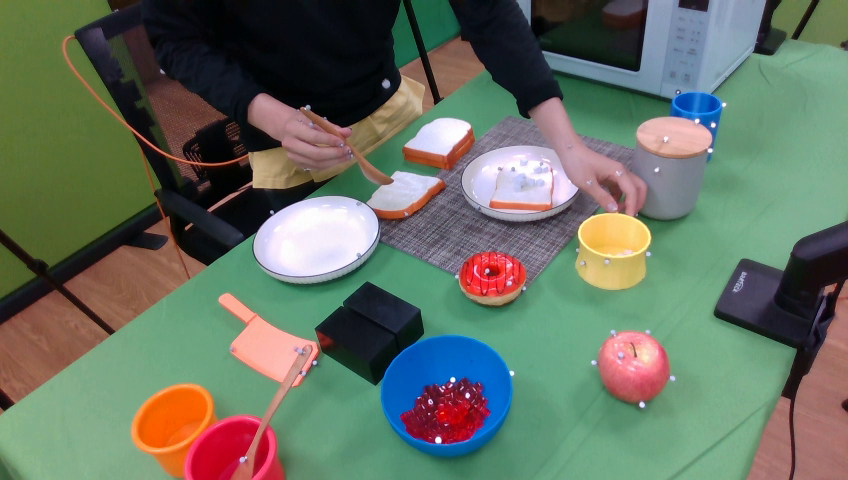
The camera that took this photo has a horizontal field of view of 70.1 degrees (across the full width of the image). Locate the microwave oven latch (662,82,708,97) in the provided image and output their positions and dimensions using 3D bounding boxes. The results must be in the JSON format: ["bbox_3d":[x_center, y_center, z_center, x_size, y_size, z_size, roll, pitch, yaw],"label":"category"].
[{"bbox_3d":[0.517,-0.298,1.203,0.078,0.029,0.030,28,53,35],"label":"microwave oven latch"}]

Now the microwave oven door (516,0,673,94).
[{"bbox_3d":[0.344,-0.459,1.257,0.353,0.245,0.039,26,52,33],"label":"microwave oven door"}]

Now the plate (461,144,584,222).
[{"bbox_3d":[0.168,-0.095,1.040,0.207,0.039,0.206,-4,40,4],"label":"plate"}]

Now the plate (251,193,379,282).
[{"bbox_3d":[-0.174,-0.001,0.984,0.209,0.038,0.208,-4,40,3],"label":"plate"}]

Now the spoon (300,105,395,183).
[{"bbox_3d":[-0.107,-0.133,0.862,0.041,0.195,0.021,3,62,41],"label":"spoon"}]

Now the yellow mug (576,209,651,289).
[{"bbox_3d":[0.279,0.004,0.893,0.099,0.064,0.130,6,41,15],"label":"yellow mug"}]

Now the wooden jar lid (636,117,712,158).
[{"bbox_3d":[0.377,-0.151,0.917,0.108,0.021,0.108,-2,41,2],"label":"wooden jar lid"}]

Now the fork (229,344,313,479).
[{"bbox_3d":[-0.173,0.205,0.662,0.028,0.019,0.207,29,94,36],"label":"fork"}]

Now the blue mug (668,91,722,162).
[{"bbox_3d":[0.474,-0.207,1.078,0.082,0.106,0.116,4,42,13],"label":"blue mug"}]

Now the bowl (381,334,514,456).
[{"bbox_3d":[0.029,0.192,0.701,0.151,0.077,0.150,-4,40,4],"label":"bowl"}]

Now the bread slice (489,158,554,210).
[{"bbox_3d":[0.172,-0.100,1.047,0.104,0.019,0.131,4,43,12],"label":"bread slice"}]

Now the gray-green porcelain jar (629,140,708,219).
[{"bbox_3d":[0.383,-0.104,0.958,0.106,0.127,0.105,-4,41,4],"label":"gray-green porcelain jar"}]

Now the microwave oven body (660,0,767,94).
[{"bbox_3d":[0.474,-0.517,1.313,0.438,0.261,0.327,26,51,34],"label":"microwave oven body"}]

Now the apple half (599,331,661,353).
[{"bbox_3d":[0.249,0.134,0.738,0.081,0.081,0.032,-1,46,7],"label":"apple half"}]

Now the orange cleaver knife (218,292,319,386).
[{"bbox_3d":[-0.235,0.136,0.850,0.209,0.012,0.077,25,56,30],"label":"orange cleaver knife"}]

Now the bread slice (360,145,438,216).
[{"bbox_3d":[-0.053,-0.103,1.046,0.106,0.018,0.134,19,67,22],"label":"bread slice"}]

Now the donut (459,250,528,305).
[{"bbox_3d":[0.100,0.053,0.872,0.099,0.048,0.098,-5,40,4],"label":"donut"}]

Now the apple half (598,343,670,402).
[{"bbox_3d":[0.247,0.161,0.710,0.081,0.075,0.053,2,47,5],"label":"apple half"}]
